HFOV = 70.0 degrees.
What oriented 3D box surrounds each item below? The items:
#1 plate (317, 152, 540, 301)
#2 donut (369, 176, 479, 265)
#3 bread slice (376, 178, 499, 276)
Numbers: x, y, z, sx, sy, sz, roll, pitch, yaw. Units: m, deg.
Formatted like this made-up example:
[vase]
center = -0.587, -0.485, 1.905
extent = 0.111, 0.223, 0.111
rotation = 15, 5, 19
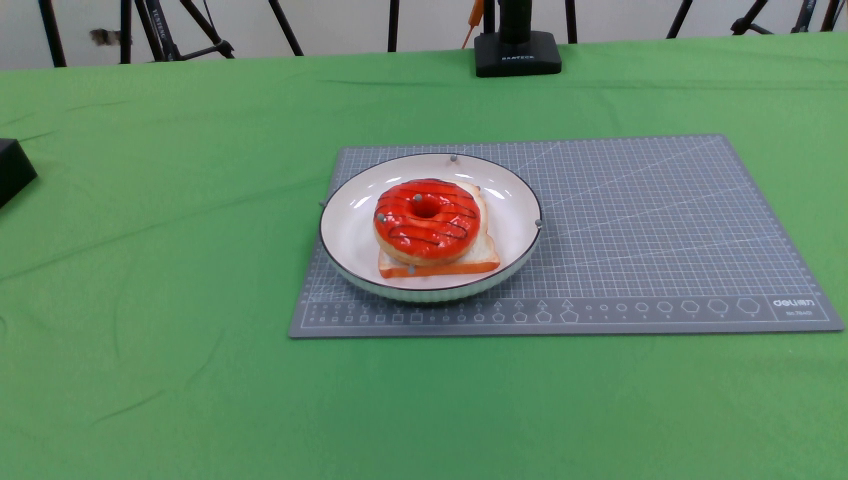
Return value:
[plate]
center = 0.005, -0.013, 0.575
extent = 0.209, 0.038, 0.207
rotation = -2, 40, 2
[donut]
center = 0.000, -0.017, 0.538
extent = 0.099, 0.049, 0.098
rotation = 0, 44, 1
[bread slice]
center = 0.007, -0.016, 0.580
extent = 0.107, 0.018, 0.133
rotation = -5, 41, -3
